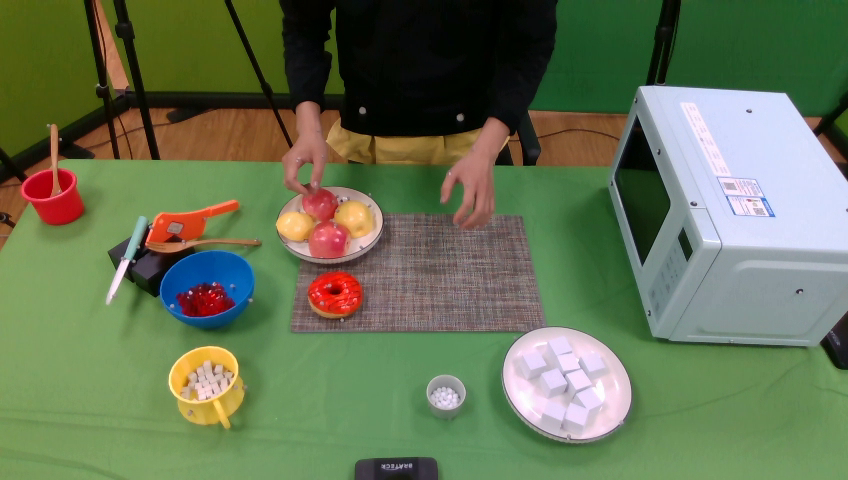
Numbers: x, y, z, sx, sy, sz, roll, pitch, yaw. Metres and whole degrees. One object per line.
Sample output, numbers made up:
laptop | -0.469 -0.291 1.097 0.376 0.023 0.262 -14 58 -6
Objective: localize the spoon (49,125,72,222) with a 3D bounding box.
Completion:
spoon | -0.717 -0.132 1.188 0.041 0.021 0.193 -3 90 -7

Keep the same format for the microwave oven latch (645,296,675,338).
microwave oven latch | 0.412 0.134 1.061 0.030 0.029 0.078 3 45 0

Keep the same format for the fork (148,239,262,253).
fork | -0.398 0.008 1.117 0.208 0.019 0.028 -5 35 -37

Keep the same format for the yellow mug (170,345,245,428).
yellow mug | -0.322 0.230 0.922 0.100 0.064 0.130 -24 53 -25

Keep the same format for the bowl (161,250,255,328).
bowl | -0.362 0.097 1.040 0.151 0.077 0.150 2 45 -2

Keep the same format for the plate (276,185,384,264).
plate | -0.184 -0.027 1.194 0.209 0.038 0.208 2 46 -2

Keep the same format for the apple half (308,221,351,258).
apple half | -0.180 -0.005 1.150 0.074 0.053 0.080 14 43 9

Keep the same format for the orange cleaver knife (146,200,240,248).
orange cleaver knife | -0.435 -0.033 1.157 0.012 0.077 0.211 31 26 18

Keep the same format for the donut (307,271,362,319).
donut | -0.157 0.097 1.073 0.099 0.048 0.098 4 45 -4

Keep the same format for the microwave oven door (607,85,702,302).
microwave oven door | 0.423 -0.094 1.140 0.039 0.245 0.353 2 46 -1

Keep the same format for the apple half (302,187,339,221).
apple half | -0.204 -0.077 1.217 0.081 0.033 0.081 17 48 -20

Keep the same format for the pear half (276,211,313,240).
pear half | -0.245 -0.036 1.180 0.070 0.031 0.088 42 40 0

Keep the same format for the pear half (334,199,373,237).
pear half | -0.147 -0.060 1.210 0.076 0.056 0.109 -16 45 -25

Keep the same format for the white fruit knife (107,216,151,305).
white fruit knife | -0.518 0.032 1.066 0.027 0.016 0.206 -18 45 19

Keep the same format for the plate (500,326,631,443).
plate | 0.224 0.233 0.978 0.208 0.039 0.206 2 46 -2

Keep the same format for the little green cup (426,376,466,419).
little green cup | 0.033 0.248 0.950 0.061 0.039 0.061 2 46 -2

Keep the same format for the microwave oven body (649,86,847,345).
microwave oven body | 0.567 -0.053 1.118 0.326 0.261 0.439 2 45 -1
